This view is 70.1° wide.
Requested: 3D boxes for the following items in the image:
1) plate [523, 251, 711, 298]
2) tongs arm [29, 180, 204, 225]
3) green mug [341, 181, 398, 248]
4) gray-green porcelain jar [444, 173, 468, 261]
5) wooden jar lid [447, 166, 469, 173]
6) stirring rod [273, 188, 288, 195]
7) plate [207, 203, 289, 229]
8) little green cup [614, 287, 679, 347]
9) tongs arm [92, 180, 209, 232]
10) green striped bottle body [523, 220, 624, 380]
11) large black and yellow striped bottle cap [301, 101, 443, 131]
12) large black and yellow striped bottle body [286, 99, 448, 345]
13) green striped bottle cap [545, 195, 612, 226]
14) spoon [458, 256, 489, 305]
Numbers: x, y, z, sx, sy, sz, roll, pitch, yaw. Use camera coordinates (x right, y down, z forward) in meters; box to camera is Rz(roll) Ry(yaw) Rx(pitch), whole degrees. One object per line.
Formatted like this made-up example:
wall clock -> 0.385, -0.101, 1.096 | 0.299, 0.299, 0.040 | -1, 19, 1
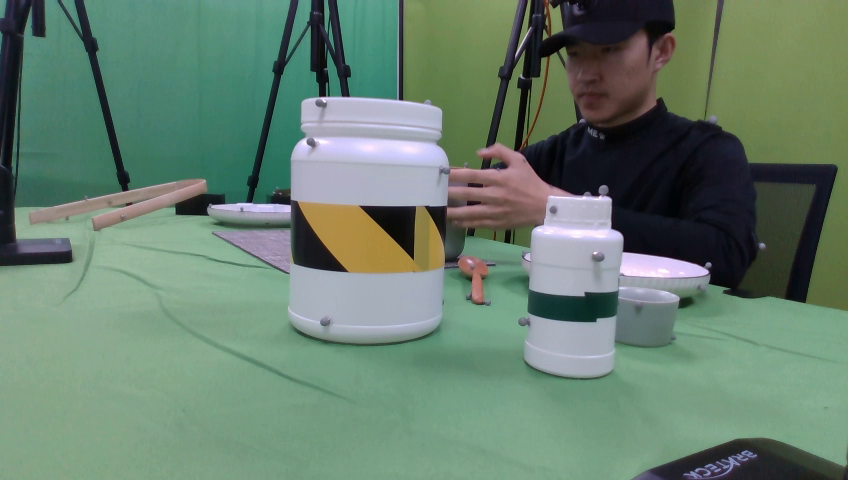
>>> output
plate -> 0.219, 0.041, 0.706 | 0.209, 0.038, 0.209 | 2, 7, 0
tongs arm -> -0.609, -0.083, 1.245 | 0.050, 0.026, 0.386 | 5, 16, 23
green mug -> -0.089, -0.044, 0.997 | 0.093, 0.105, 0.125 | 1, 7, -8
gray-green porcelain jar -> 0.009, -0.036, 0.874 | 0.106, 0.126, 0.106 | 2, 8, 0
wooden jar lid -> 0.010, -0.099, 0.866 | 0.108, 0.020, 0.108 | 5, 8, 0
stirring rod -> -0.353, -0.122, 1.519 | 0.006, 0.014, 0.176 | 2, 6, 1
plate -> -0.342, -0.050, 1.259 | 0.208, 0.039, 0.207 | 2, 7, 0
little green cup -> 0.180, 0.064, 0.506 | 0.061, 0.038, 0.061 | 2, 8, 0
tongs arm -> -0.534, -0.076, 1.221 | 0.028, 0.028, 0.388 | -2, 15, 12
green striped bottle body -> 0.104, 0.031, 0.422 | 0.063, 0.119, 0.063 | 3, 8, 0
large black and yellow striped bottle cap -> -0.042, -0.100, 0.491 | 0.115, 0.019, 0.115 | 1, 8, 0
large black and yellow striped bottle body -> -0.047, -0.018, 0.501 | 0.131, 0.184, 0.130 | 2, 7, 0
green striped bottle cap -> 0.106, -0.020, 0.414 | 0.044, 0.020, 0.044 | 2, 4, 0
spoon -> 0.059, 0.044, 0.696 | 0.041, 0.021, 0.194 | 20, 7, 0
